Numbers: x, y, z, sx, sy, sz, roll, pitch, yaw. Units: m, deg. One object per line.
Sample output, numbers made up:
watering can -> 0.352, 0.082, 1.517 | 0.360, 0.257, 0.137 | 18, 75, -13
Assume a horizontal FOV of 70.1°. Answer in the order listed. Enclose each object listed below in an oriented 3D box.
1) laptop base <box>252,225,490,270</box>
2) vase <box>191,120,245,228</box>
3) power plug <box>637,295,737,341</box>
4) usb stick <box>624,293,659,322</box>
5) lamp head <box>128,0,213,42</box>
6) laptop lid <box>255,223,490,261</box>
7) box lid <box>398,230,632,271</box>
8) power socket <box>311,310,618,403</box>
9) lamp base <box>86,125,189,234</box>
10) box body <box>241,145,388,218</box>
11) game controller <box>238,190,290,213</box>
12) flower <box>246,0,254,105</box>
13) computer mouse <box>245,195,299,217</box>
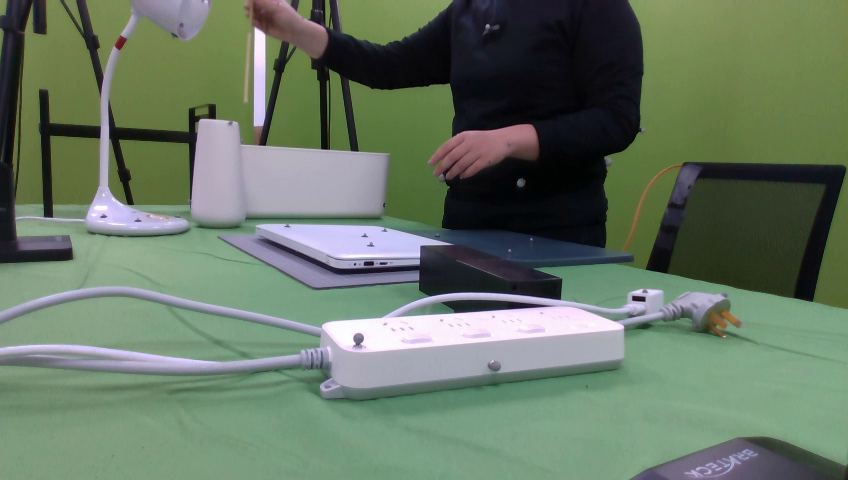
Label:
laptop base -> -0.096, 0.011, 0.910 | 0.237, 0.023, 0.352 | 3, 6, -32
vase -> -0.389, -0.123, 1.143 | 0.098, 0.200, 0.098 | 2, 9, 0
power plug -> 0.235, 0.077, 0.535 | 0.072, 0.035, 0.052 | -33, 40, -5
usb stick -> 0.211, 0.064, 0.580 | 0.021, 0.027, 0.059 | -4, -6, 35
lamp head -> -0.423, -0.394, 0.980 | 0.123, 0.112, 0.112 | 20, 7, -3
laptop lid -> -0.093, 0.000, 0.911 | 0.243, 0.013, 0.355 | 1, 7, -30
box lid -> 0.140, 0.012, 1.045 | 0.265, 0.015, 0.369 | -1, 8, -32
power socket -> 0.034, 0.074, 0.415 | 0.228, 0.032, 0.072 | -1, 7, -24
lamp base -> -0.497, -0.105, 1.027 | 0.179, 0.180, 0.160 | 1, 7, 2
box body -> -0.297, -0.143, 1.474 | 0.366, 0.160, 0.253 | -1, 9, -30
game controller -> -0.391, -0.094, 1.465 | 0.097, 0.051, 0.154 | -3, 8, -29
flower -> -0.339, -0.433, 1.183 | 0.044, 0.361, 0.038 | 7, -15, -35
computer mouse -> -0.344, -0.078, 1.368 | 0.118, 0.041, 0.062 | -12, 16, -30
